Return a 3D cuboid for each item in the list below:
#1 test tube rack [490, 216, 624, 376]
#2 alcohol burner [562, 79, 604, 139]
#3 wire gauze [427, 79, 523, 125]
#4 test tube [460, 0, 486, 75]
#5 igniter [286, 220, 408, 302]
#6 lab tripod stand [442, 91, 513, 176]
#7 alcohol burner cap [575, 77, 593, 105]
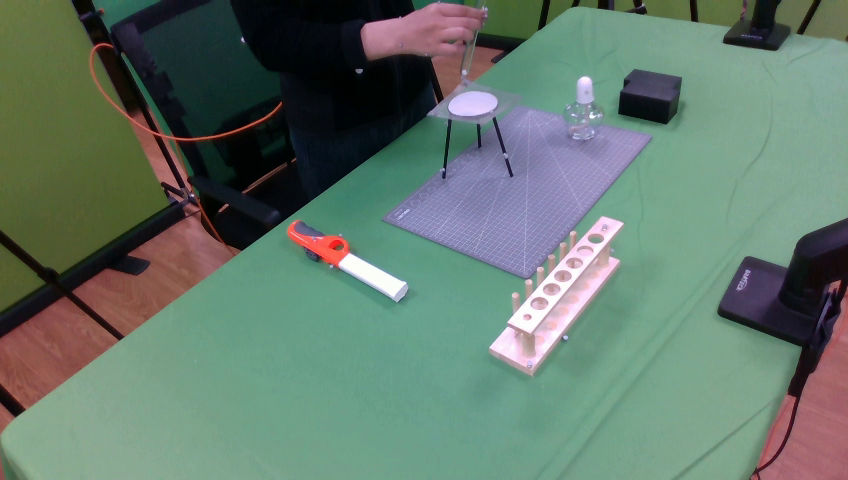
[{"bbox_3d":[0.184,0.064,0.822,0.066,0.085,0.243,24,50,33],"label":"test tube rack"},{"bbox_3d":[0.303,-0.253,1.147,0.078,0.119,0.077,-4,41,4],"label":"alcohol burner"},{"bbox_3d":[0.088,-0.239,1.050,0.120,0.011,0.125,22,50,30],"label":"wire gauze"},{"bbox_3d":[0.080,-0.339,0.981,0.017,0.150,0.017,8,39,-6],"label":"test tube"},{"bbox_3d":[-0.133,0.028,0.969,0.274,0.025,0.057,26,61,35],"label":"igniter"},{"bbox_3d":[0.096,-0.190,1.096,0.148,0.132,0.147,-4,40,4],"label":"lab tripod stand"},{"bbox_3d":[0.297,-0.279,1.123,0.034,0.048,0.033,-8,41,8],"label":"alcohol burner cap"}]
